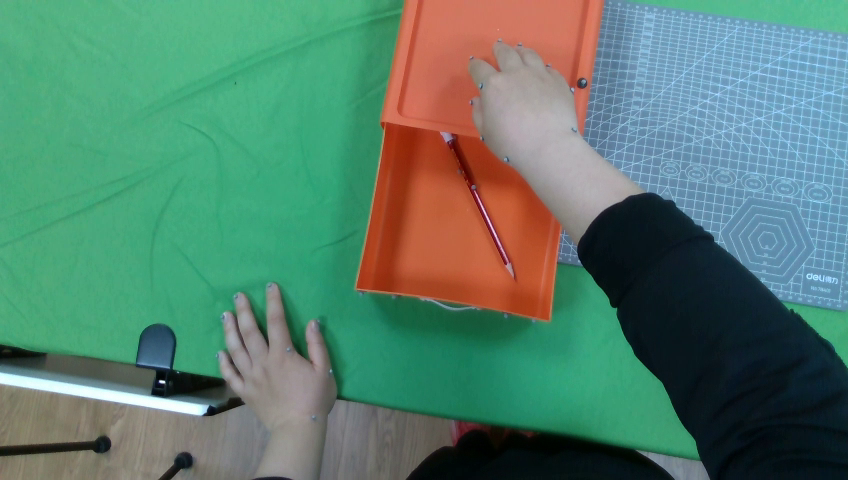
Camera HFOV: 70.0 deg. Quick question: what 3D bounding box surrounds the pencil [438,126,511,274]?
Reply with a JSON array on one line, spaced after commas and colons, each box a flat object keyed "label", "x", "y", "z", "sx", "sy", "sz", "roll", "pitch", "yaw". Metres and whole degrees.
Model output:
[{"label": "pencil", "x": 0.053, "y": -0.052, "z": 0.648, "sx": 0.012, "sy": 0.012, "sz": 0.193, "roll": -24, "pitch": 86, "yaw": 1}]

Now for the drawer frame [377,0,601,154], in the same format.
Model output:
[{"label": "drawer frame", "x": 0.071, "y": -0.200, "z": 0.632, "sx": 0.201, "sy": 0.083, "sz": 0.213, "roll": 9, "pitch": 84, "yaw": 4}]

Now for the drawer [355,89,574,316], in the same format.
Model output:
[{"label": "drawer", "x": 0.045, "y": -0.038, "z": 0.622, "sx": 0.194, "sy": 0.073, "sz": 0.211, "roll": 9, "pitch": 87, "yaw": 5}]
